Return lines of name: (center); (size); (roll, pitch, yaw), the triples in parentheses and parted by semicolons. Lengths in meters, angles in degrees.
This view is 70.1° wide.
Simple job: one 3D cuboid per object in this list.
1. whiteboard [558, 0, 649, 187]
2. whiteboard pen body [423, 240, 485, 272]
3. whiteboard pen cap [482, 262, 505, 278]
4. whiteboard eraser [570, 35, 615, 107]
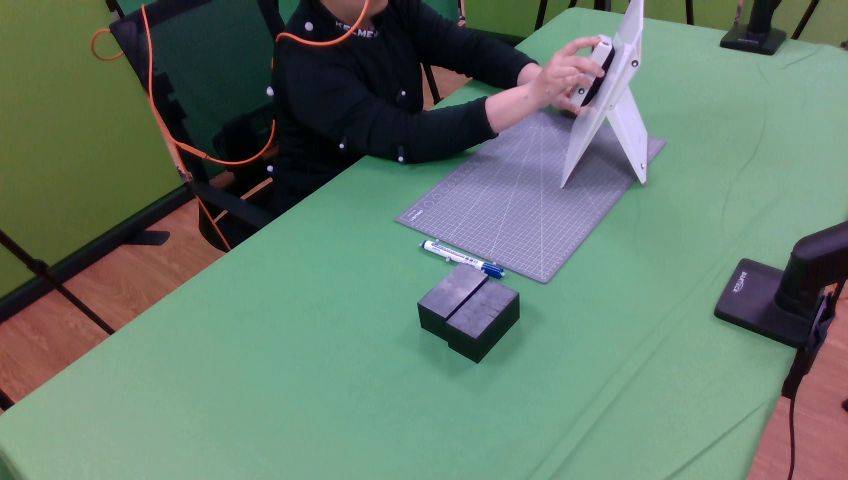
whiteboard: (0.361, -0.238, 1.026); (0.144, 0.306, 0.217); (21, 44, 3)
whiteboard pen body: (0.057, 0.027, 0.942); (0.139, 0.017, 0.017); (22, 48, 30)
whiteboard pen cap: (0.104, 0.044, 0.912); (0.033, 0.018, 0.018); (22, 48, 29)
whiteboard eraser: (0.289, -0.287, 1.033); (0.042, 0.112, 0.055); (23, 39, 2)
